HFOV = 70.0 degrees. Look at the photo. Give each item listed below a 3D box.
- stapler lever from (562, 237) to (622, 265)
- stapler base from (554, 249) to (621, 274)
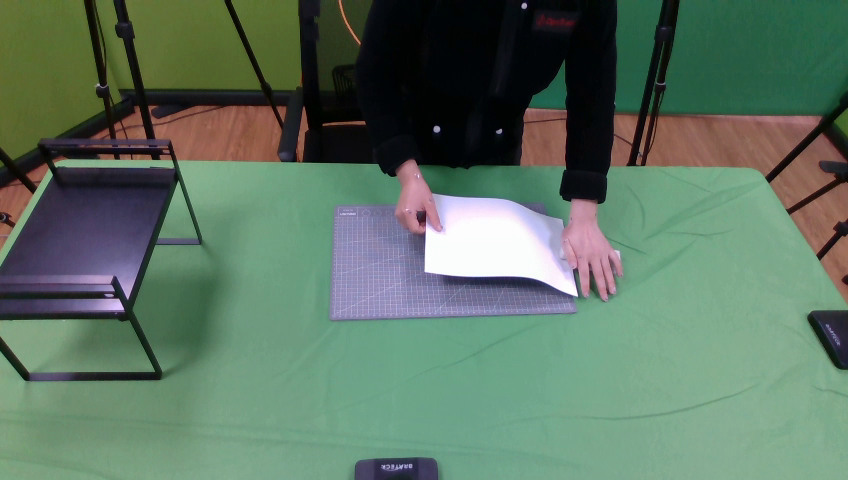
[{"bbox_3d":[0.325,0.020,1.166,0.118,0.040,0.026,8,52,1],"label":"stapler lever"},{"bbox_3d":[0.322,0.036,1.184,0.130,0.024,0.041,9,52,0],"label":"stapler base"}]
